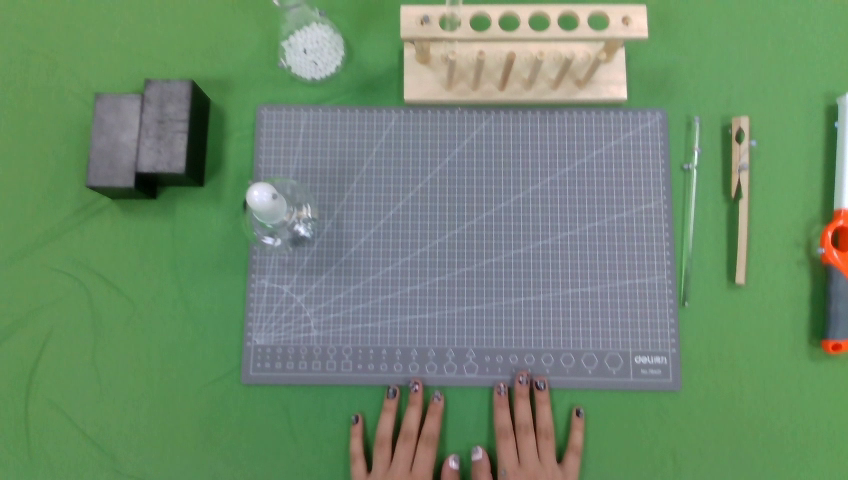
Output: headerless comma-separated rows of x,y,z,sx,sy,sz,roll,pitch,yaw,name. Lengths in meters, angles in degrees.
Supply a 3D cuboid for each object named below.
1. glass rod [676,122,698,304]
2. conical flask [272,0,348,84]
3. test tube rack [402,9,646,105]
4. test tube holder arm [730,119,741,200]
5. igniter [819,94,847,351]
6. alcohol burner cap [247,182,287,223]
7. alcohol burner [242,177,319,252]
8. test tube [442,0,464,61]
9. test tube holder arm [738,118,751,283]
0.282,-0.030,0.649,0.008,0.008,0.199,8,83,2,glass rod
-0.123,-0.219,0.626,0.075,0.122,0.075,0,80,1,conical flask
0.099,-0.190,0.638,0.242,0.085,0.066,0,80,1,test tube rack
0.337,-0.087,0.654,0.010,0.015,0.087,-3,79,37,test tube holder arm
0.444,-0.020,0.636,0.057,0.025,0.275,11,81,-8,igniter
-0.147,-0.037,0.561,0.034,0.048,0.033,1,76,-3,alcohol burner cap
-0.146,-0.029,0.596,0.078,0.119,0.077,0,79,3,alcohol burner
0.029,-0.217,0.593,0.017,0.151,0.017,0,78,-1,test tube
0.339,-0.043,0.644,0.013,0.015,0.177,-5,78,37,test tube holder arm
